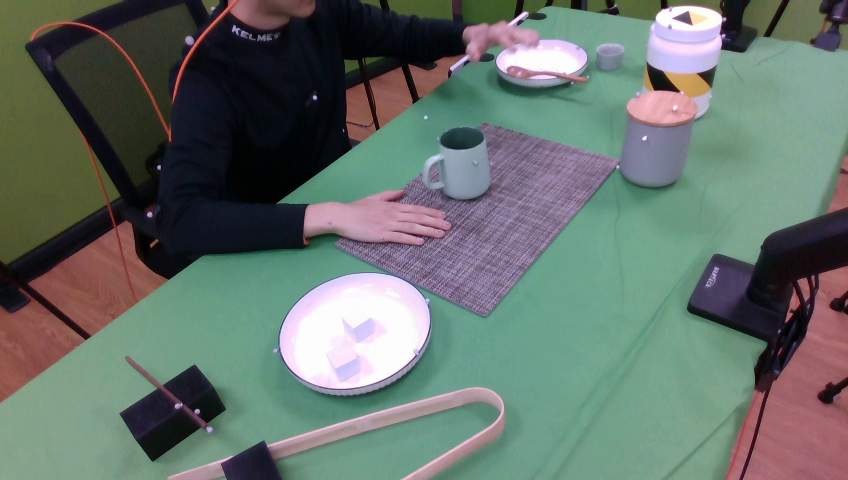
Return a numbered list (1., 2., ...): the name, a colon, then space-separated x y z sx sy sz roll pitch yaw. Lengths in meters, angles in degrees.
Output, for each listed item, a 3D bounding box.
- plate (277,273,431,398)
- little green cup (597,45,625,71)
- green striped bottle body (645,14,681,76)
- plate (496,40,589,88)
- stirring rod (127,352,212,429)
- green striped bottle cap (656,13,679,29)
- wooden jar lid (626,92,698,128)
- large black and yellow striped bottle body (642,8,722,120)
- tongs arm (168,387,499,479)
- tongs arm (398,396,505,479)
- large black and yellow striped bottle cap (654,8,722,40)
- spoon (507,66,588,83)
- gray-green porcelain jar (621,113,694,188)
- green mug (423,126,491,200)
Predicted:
1. plate: -0.091 0.129 0.821 0.207 0.039 0.206 -4 41 4
2. little green cup: 0.422 -0.413 1.375 0.061 0.039 0.061 -3 41 3
3. green striped bottle body: 0.520 -0.424 1.312 0.063 0.120 0.063 -4 41 4
4. plate: 0.268 -0.398 1.381 0.209 0.038 0.208 -4 41 4
5. stirring rod: -0.311 0.180 0.731 0.175 0.014 0.006 25 53 31
6. green striped bottle cap: 0.515 -0.463 1.278 0.044 0.020 0.044 -6 42 6
7. wooden jar lid: 0.384 -0.207 0.980 0.108 0.021 0.108 -6 39 5
8. large black and yellow striped bottle body: 0.493 -0.334 1.161 0.131 0.185 0.130 -4 41 4
9. tongs arm: -0.100 0.231 0.711 0.388 0.028 0.028 -13 32 -7
10. tongs arm: -0.071 0.272 0.652 0.386 0.026 0.050 -21 37 -17
11. large black and yellow striped bottle cap: 0.483 -0.397 1.108 0.115 0.019 0.114 -3 41 3
12. spoon: 0.265 -0.358 1.311 0.192 0.022 0.042 18 48 38
13. gray-green porcelain jar: 0.390 -0.161 1.020 0.106 0.127 0.105 -4 41 4
14. green mug: 0.055 -0.125 1.039 0.126 0.105 0.091 -25 44 -19
